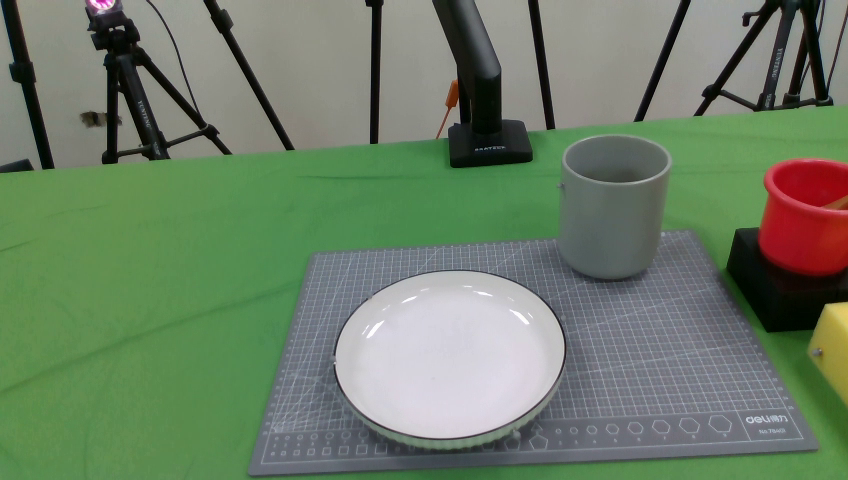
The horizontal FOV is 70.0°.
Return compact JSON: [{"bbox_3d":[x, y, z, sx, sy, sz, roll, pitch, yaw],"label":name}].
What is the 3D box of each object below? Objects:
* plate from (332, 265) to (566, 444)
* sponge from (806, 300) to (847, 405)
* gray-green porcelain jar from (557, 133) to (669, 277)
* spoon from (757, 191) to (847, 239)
[{"bbox_3d":[0.023,0.101,0.553,0.207,0.039,0.205,-4,36,3],"label":"plate"},{"bbox_3d":[0.403,0.128,0.445,0.118,0.061,0.204,-6,35,0],"label":"sponge"},{"bbox_3d":[0.193,-0.033,0.637,0.106,0.127,0.105,-4,36,4],"label":"gray-green porcelain jar"},{"bbox_3d":[0.389,-0.045,0.527,0.194,0.022,0.041,-36,13,44],"label":"spoon"}]
